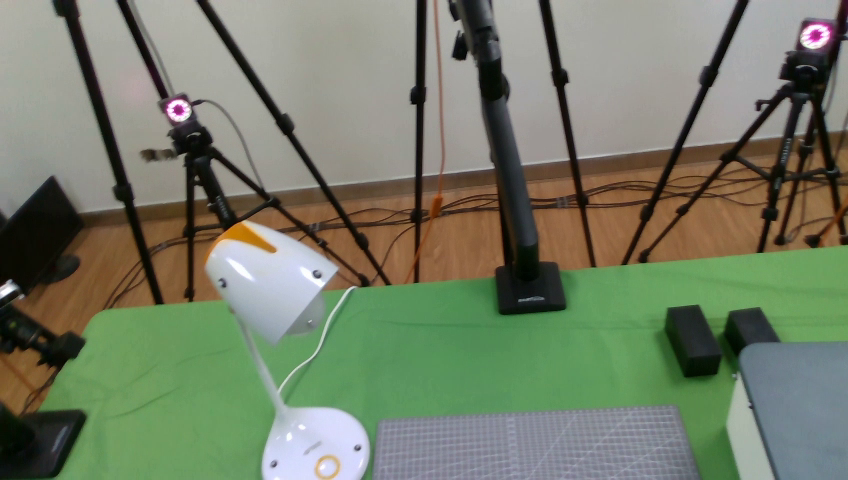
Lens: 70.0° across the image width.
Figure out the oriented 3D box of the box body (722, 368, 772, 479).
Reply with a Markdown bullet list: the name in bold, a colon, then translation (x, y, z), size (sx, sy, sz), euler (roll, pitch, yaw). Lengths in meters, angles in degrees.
- **box body**: translation (0.512, 0.302, 0.677), size (0.254, 0.162, 0.360), euler (-3, 41, 9)

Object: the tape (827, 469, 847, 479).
- **tape**: translation (0.525, 0.332, 0.716), size (0.117, 0.053, 0.115), euler (-5, 41, 5)

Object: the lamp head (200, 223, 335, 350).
- **lamp head**: translation (-0.176, 0.043, 0.651), size (0.123, 0.113, 0.112), euler (35, 51, -1)

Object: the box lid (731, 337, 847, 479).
- **box lid**: translation (0.502, 0.245, 0.630), size (0.263, 0.015, 0.368), euler (-3, 42, 9)

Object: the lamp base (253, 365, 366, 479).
- **lamp base**: translation (-0.185, 0.264, 0.854), size (0.177, 0.182, 0.160), euler (23, 51, 36)
